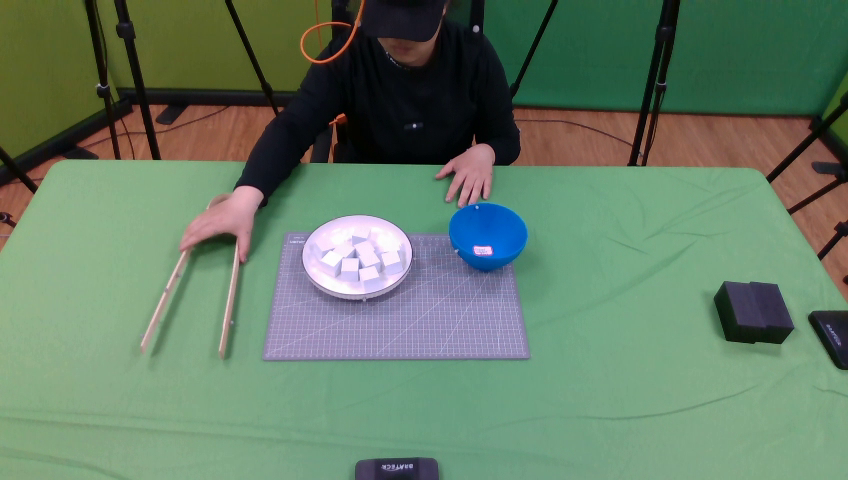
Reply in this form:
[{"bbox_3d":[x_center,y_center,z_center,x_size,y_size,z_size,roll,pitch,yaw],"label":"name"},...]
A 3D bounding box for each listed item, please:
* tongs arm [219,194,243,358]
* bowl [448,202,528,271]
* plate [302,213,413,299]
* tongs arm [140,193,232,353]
[{"bbox_3d":[-0.357,0.050,1.116,0.028,0.028,0.385,-3,46,-7],"label":"tongs arm"},{"bbox_3d":[0.118,0.006,1.160,0.151,0.077,0.150,2,46,-2],"label":"bowl"},{"bbox_3d":[-0.124,0.033,1.143,0.208,0.039,0.206,2,46,-2],"label":"plate"},{"bbox_3d":[-0.424,0.044,1.108,0.051,0.026,0.382,6,44,-3],"label":"tongs arm"}]
